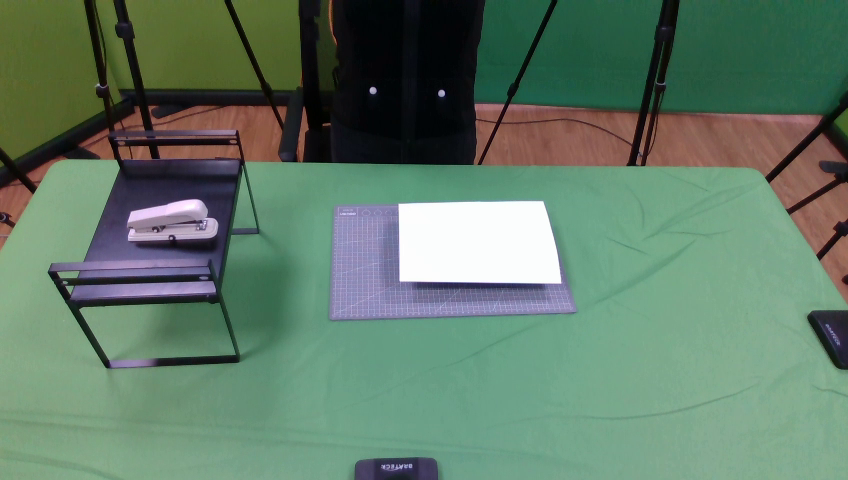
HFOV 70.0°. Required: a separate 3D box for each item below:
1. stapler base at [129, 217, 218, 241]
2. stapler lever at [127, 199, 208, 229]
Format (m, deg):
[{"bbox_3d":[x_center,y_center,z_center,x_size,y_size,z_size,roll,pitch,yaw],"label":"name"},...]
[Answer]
[{"bbox_3d":[-0.390,-0.023,0.940,0.131,0.024,0.041,-4,43,-5],"label":"stapler base"},{"bbox_3d":[-0.391,-0.039,0.922,0.118,0.040,0.026,-3,43,-6],"label":"stapler lever"}]
